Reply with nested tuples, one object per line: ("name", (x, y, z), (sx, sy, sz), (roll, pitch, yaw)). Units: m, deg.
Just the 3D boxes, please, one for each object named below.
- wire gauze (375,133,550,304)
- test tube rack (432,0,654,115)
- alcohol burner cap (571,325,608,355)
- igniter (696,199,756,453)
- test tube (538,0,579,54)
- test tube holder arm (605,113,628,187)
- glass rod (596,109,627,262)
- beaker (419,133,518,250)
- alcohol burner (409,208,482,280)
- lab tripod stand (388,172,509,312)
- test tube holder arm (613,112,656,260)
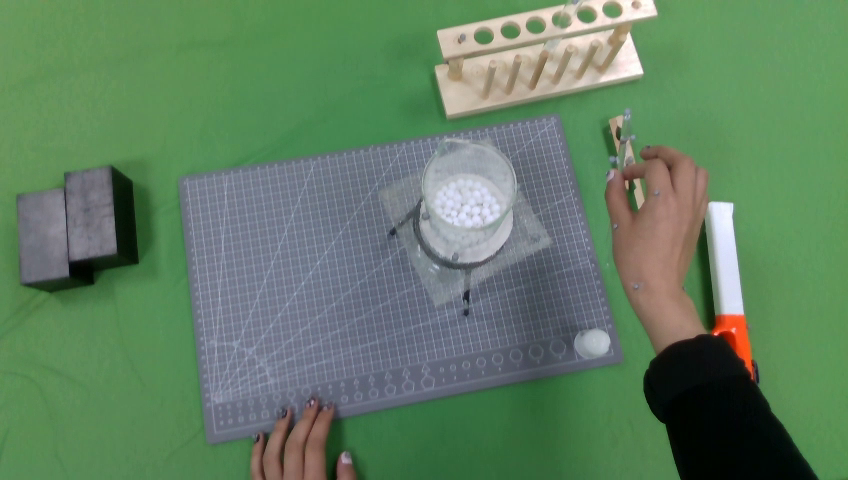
("wire gauze", (0.034, -0.023, 0.555), (0.121, 0.011, 0.124), (-27, 80, -4))
("test tube rack", (0.135, -0.216, 0.698), (0.242, 0.085, 0.066), (-13, 77, -4))
("alcohol burner cap", (0.178, 0.104, 0.644), (0.034, 0.048, 0.033), (0, 76, -1))
("igniter", (0.329, 0.088, 0.663), (0.057, 0.025, 0.275), (3, 77, -11))
("test tube", (0.151, -0.247, 0.654), (0.017, 0.150, 0.017), (2, 75, -7))
("test tube holder arm", (0.229, -0.105, 0.710), (0.010, 0.015, 0.087), (-17, 77, 28))
("glass rod", (0.184, -0.045, 0.601), (0.008, 0.202, 0.008), (-4, 47, 4))
("beaker", (0.032, -0.036, 0.509), (0.074, 0.100, 0.083), (-25, 78, -5))
("alcohol burner", (0.023, 0.000, 0.628), (0.078, 0.119, 0.077), (0, 75, 0))
("lab tripod stand", (0.028, -0.005, 0.619), (0.148, 0.132, 0.147), (0, 78, 0))
("test tube holder arm", (0.242, -0.063, 0.698), (0.013, 0.015, 0.177), (-17, 77, 28))
